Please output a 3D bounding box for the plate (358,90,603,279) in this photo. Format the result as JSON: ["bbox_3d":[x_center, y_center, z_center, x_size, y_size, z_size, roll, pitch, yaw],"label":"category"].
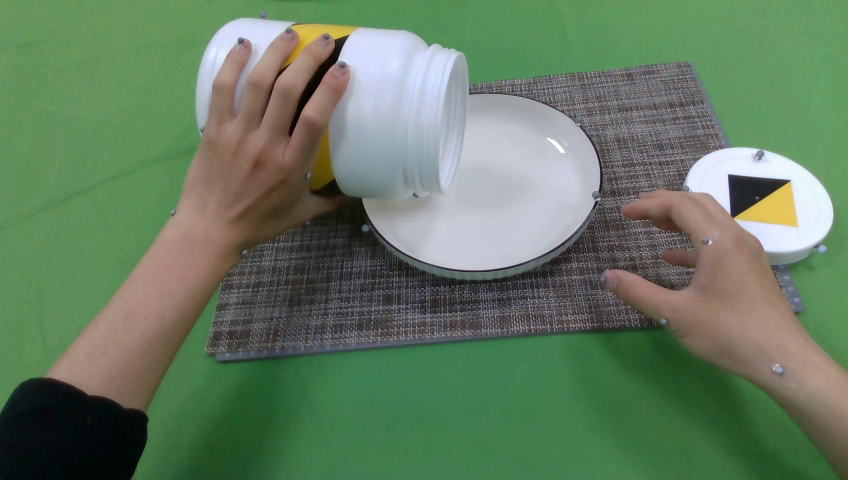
[{"bbox_3d":[0.048,-0.049,0.528,0.207,0.039,0.205,-4,53,5],"label":"plate"}]

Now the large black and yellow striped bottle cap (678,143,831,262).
[{"bbox_3d":[0.271,-0.034,0.499,0.115,0.019,0.114,-1,55,2],"label":"large black and yellow striped bottle cap"}]

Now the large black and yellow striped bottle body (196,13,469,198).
[{"bbox_3d":[-0.065,-0.104,0.479,0.183,0.132,0.130,9,56,11],"label":"large black and yellow striped bottle body"}]
